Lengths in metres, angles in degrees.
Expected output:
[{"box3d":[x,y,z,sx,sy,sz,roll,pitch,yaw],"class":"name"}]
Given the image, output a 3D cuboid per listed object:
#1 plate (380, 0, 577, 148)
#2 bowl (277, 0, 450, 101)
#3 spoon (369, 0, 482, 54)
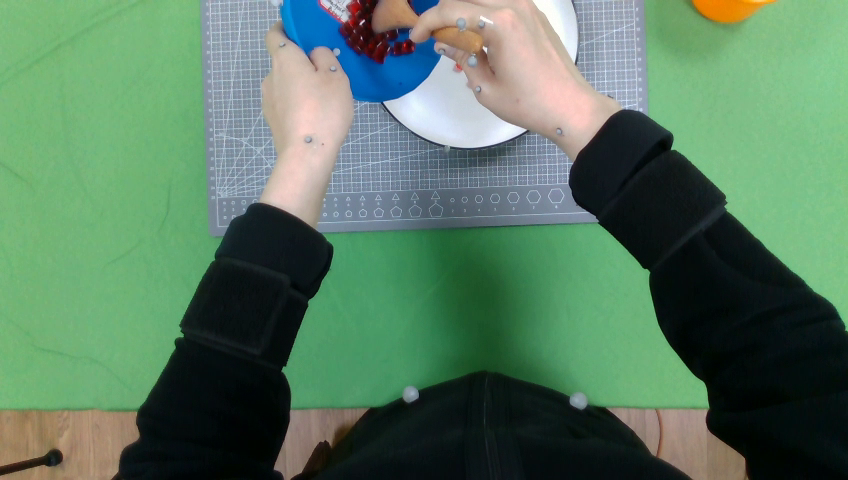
[{"box3d":[0.044,-0.193,0.596,0.209,0.038,0.209,0,90,3],"class":"plate"},{"box3d":[-0.061,-0.195,0.502,0.152,0.076,0.152,-14,114,-33],"class":"bowl"},{"box3d":[-0.003,-0.159,0.444,0.022,0.191,0.041,24,103,-37],"class":"spoon"}]
